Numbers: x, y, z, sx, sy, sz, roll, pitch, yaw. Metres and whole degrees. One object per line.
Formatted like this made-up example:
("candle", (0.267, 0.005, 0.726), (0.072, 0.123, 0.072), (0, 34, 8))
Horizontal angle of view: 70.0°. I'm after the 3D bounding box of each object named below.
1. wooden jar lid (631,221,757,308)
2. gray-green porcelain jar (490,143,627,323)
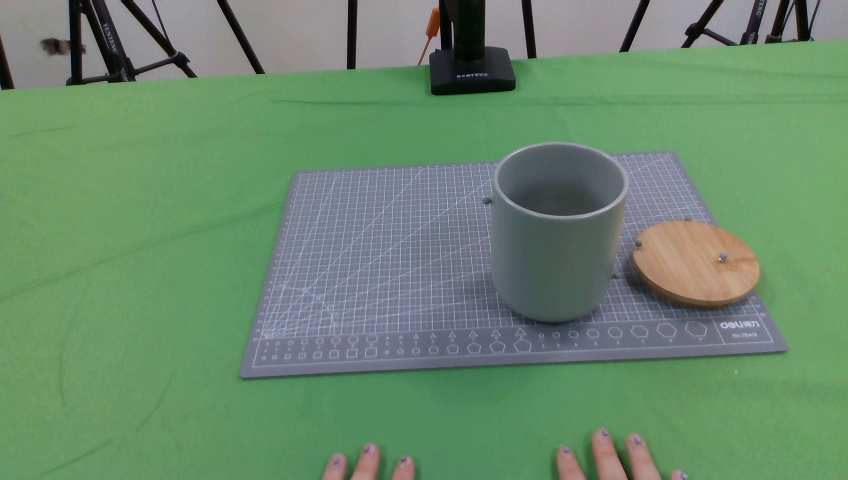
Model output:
("wooden jar lid", (0.245, 0.023, 0.557), (0.108, 0.021, 0.107), (-3, 40, 3))
("gray-green porcelain jar", (0.109, -0.001, 0.514), (0.106, 0.127, 0.105), (-2, 41, 3))
